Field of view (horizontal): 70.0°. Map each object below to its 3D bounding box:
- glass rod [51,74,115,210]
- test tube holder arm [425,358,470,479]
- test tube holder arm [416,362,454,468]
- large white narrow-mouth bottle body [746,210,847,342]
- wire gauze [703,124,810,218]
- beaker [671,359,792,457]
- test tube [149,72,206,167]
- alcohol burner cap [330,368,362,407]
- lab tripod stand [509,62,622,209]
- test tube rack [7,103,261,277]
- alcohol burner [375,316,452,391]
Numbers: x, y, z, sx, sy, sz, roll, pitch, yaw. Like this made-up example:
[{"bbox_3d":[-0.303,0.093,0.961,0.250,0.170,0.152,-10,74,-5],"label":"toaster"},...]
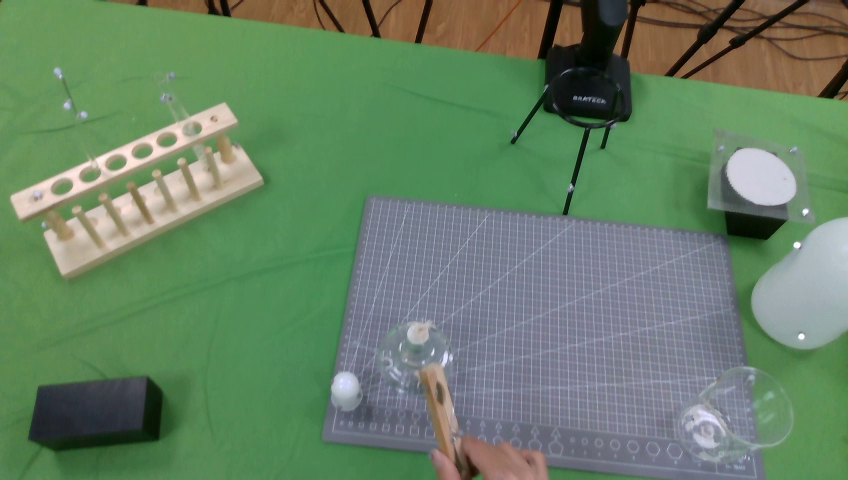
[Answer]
[{"bbox_3d":[-0.351,-0.089,0.631,0.008,0.201,0.008,5,52,-6],"label":"glass rod"},{"bbox_3d":[0.027,0.181,0.493,0.013,0.015,0.179,-20,101,-31],"label":"test tube holder arm"},{"bbox_3d":[0.011,0.140,0.483,0.010,0.015,0.088,-21,101,-31],"label":"test tube holder arm"},{"bbox_3d":[0.426,0.028,0.627,0.102,0.196,0.101,1,60,-2],"label":"large white narrow-mouth bottle body"},{"bbox_3d":[0.404,-0.085,0.741,0.121,0.011,0.124,13,60,4],"label":"wire gauze"},{"bbox_3d":[0.291,0.167,0.592,0.084,0.101,0.073,11,60,4],"label":"beaker"},{"bbox_3d":[-0.270,-0.130,0.678,0.017,0.151,0.017,0,61,1],"label":"test tube"},{"bbox_3d":[-0.081,0.147,0.613,0.034,0.048,0.033,1,60,-2],"label":"alcohol burner cap"},{"bbox_3d":[0.178,-0.133,0.738,0.148,0.132,0.147,2,61,-4],"label":"lab tripod stand"},{"bbox_3d":[-0.319,-0.059,0.692,0.242,0.086,0.066,-30,66,-19],"label":"test tube rack"},{"bbox_3d":[-0.009,0.106,0.599,0.078,0.120,0.077,3,59,-4],"label":"alcohol burner"}]
